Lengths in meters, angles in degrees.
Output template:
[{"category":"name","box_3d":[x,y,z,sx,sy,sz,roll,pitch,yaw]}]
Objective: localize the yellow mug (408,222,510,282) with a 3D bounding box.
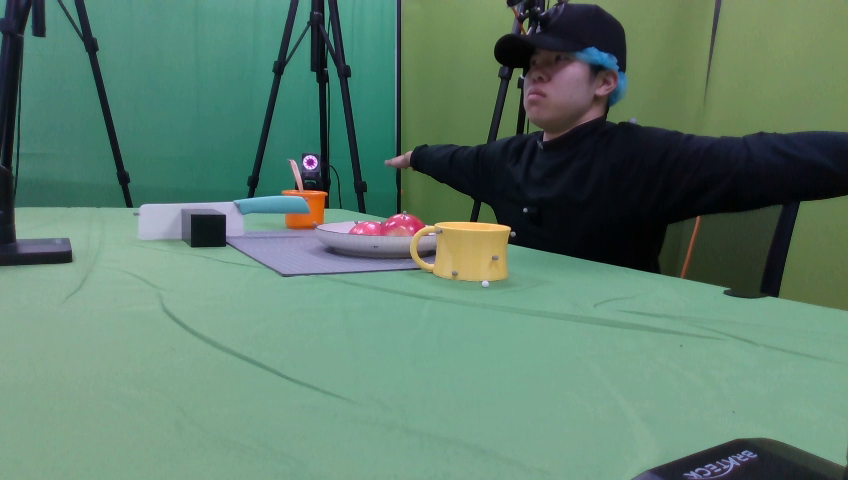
[{"category":"yellow mug","box_3d":[0.044,0.013,0.785,0.131,0.064,0.100,2,7,4]}]

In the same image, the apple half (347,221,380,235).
[{"category":"apple half","box_3d":[-0.089,-0.014,0.985,0.081,0.033,0.081,5,5,0]}]

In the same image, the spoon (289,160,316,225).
[{"category":"spoon","box_3d":[-0.260,-0.102,1.268,0.042,0.193,0.021,1,-37,-27]}]

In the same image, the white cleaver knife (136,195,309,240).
[{"category":"white cleaver knife","box_3d":[-0.337,-0.039,1.037,0.288,0.066,0.021,-6,15,-29]}]

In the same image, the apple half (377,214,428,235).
[{"category":"apple half","box_3d":[-0.034,-0.013,0.924,0.080,0.053,0.075,5,10,16]}]

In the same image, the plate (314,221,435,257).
[{"category":"plate","box_3d":[-0.067,-0.002,0.948,0.209,0.038,0.209,3,7,0]}]
